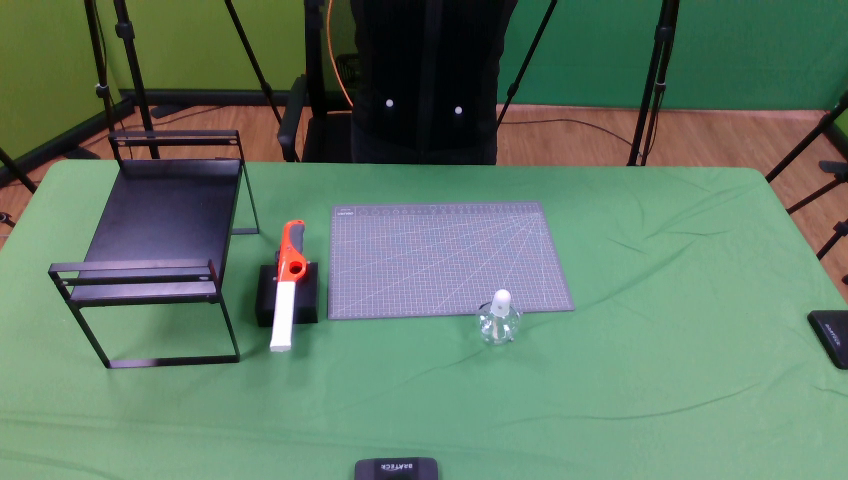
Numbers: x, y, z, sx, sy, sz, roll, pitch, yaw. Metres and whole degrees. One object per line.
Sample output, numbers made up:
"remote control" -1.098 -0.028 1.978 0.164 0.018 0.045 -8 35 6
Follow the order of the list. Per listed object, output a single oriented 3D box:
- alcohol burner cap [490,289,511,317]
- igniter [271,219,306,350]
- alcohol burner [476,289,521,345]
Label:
"alcohol burner cap" 0.128 0.101 1.002 0.034 0.048 0.033 3 45 -3
"igniter" -0.235 0.067 1.047 0.057 0.025 0.274 0 49 -6
"alcohol burner" 0.128 0.123 1.024 0.078 0.119 0.077 3 45 -3
